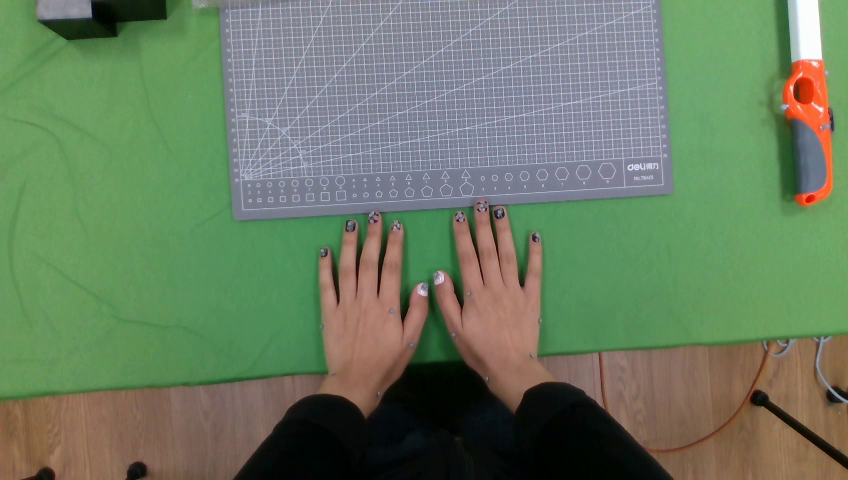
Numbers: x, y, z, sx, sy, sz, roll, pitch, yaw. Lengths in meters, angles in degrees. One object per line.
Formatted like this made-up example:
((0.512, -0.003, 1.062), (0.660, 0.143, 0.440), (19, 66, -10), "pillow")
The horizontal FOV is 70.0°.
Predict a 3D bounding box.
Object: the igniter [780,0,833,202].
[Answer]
((0.394, -0.177, 0.628), (0.057, 0.025, 0.276), (-3, 90, -14), "igniter")

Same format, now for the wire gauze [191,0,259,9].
((-0.182, -0.297, 0.606), (0.125, 0.011, 0.121), (-9, 89, -2), "wire gauze")
